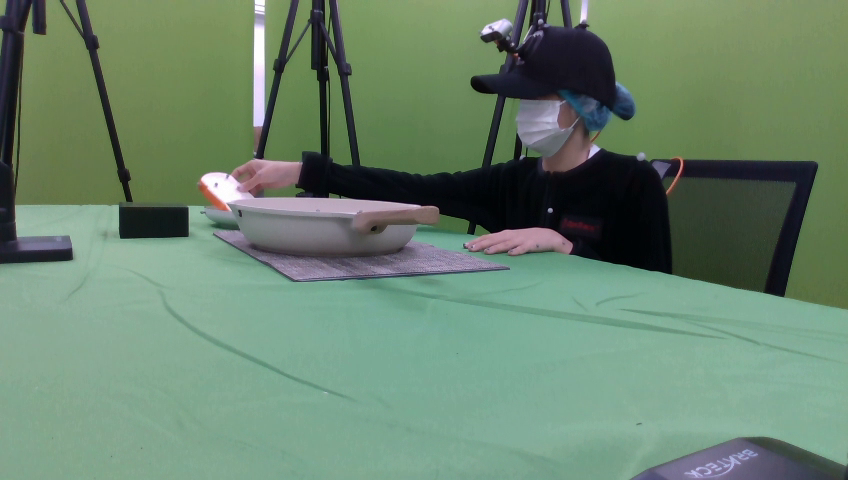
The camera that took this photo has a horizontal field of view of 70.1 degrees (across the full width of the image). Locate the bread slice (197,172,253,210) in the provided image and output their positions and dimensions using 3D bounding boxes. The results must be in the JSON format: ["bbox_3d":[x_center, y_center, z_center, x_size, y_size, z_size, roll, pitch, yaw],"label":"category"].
[{"bbox_3d":[-0.388,-0.087,1.211,0.131,0.019,0.105,46,26,11],"label":"bread slice"}]

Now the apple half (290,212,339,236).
[{"bbox_3d":[-0.169,-0.027,0.936,0.081,0.033,0.081,2,10,0],"label":"apple half"}]

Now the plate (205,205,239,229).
[{"bbox_3d":[-0.324,-0.046,1.198,0.208,0.039,0.207,3,7,0],"label":"plate"}]

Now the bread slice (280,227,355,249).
[{"bbox_3d":[-0.170,-0.004,0.943,0.107,0.018,0.134,2,7,-15],"label":"bread slice"}]

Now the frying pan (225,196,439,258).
[{"bbox_3d":[-0.103,-0.027,0.845,0.308,0.102,0.486,-1,0,-25],"label":"frying pan"}]
